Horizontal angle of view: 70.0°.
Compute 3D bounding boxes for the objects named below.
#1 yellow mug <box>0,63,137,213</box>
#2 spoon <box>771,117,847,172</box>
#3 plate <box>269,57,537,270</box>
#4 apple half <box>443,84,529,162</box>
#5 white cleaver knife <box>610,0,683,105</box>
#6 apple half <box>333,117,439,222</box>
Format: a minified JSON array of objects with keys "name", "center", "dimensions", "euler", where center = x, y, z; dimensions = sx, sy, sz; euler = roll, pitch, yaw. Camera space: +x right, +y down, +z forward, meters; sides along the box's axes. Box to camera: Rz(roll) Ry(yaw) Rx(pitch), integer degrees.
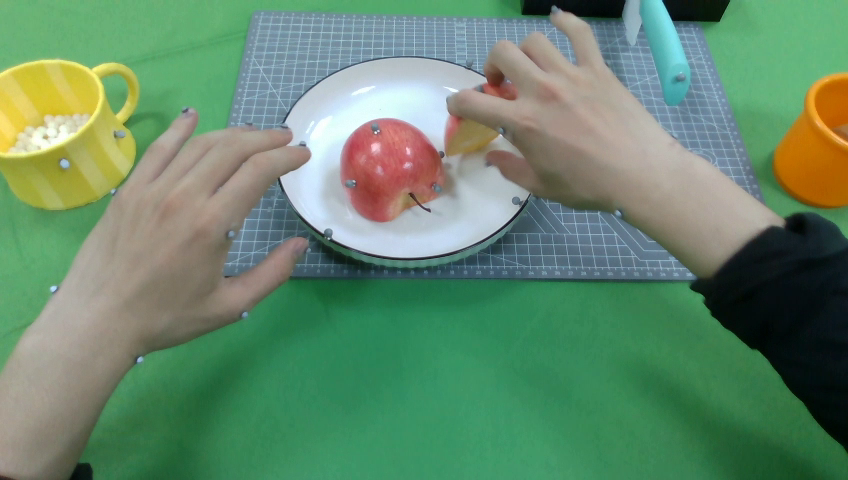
[{"name":"yellow mug","center":[-0.282,-0.090,0.478],"dimensions":[0.099,0.064,0.130],"euler":[31,61,16]},{"name":"spoon","center":[0.371,-0.107,0.467],"dimensions":[0.022,0.193,0.041],"euler":[27,44,-38]},{"name":"plate","center":[-0.016,-0.063,0.486],"dimensions":[0.209,0.038,0.207],"euler":[1,58,-2]},{"name":"apple half","center":[0.039,-0.097,0.473],"dimensions":[0.081,0.081,0.032],"euler":[-31,83,-19]},{"name":"white cleaver knife","center":[0.200,-0.228,0.581],"dimensions":[0.021,0.066,0.283],"euler":[-2,54,2]},{"name":"apple half","center":[-0.031,-0.062,0.466],"dimensions":[0.081,0.054,0.074],"euler":[-25,64,-16]}]
